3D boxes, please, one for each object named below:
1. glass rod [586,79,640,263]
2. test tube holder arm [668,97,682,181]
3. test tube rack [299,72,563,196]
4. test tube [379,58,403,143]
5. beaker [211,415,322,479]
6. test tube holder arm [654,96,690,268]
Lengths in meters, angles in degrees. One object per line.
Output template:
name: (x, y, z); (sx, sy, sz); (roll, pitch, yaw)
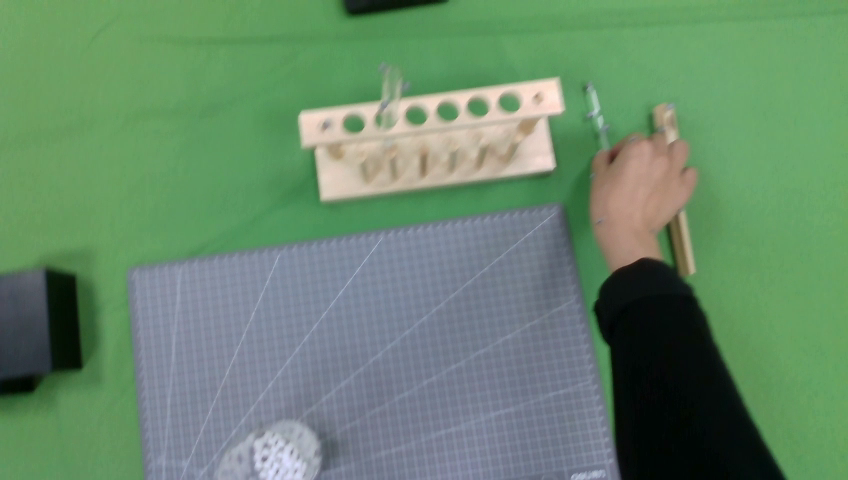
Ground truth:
glass rod: (0.193, -0.073, 0.624); (0.008, 0.008, 0.199); (-12, 81, -2)
test tube holder arm: (0.255, -0.104, 0.627); (0.010, 0.015, 0.087); (3, 80, -32)
test tube rack: (0.009, -0.101, 0.595); (0.242, 0.085, 0.066); (-8, 80, -1)
test tube: (-0.031, -0.121, 0.548); (0.017, 0.150, 0.017); (1, 77, -5)
beaker: (-0.130, 0.195, 0.538); (0.084, 0.100, 0.073); (-4, 80, 0)
test tube holder arm: (0.252, -0.059, 0.618); (0.013, 0.015, 0.178); (2, 81, -32)
